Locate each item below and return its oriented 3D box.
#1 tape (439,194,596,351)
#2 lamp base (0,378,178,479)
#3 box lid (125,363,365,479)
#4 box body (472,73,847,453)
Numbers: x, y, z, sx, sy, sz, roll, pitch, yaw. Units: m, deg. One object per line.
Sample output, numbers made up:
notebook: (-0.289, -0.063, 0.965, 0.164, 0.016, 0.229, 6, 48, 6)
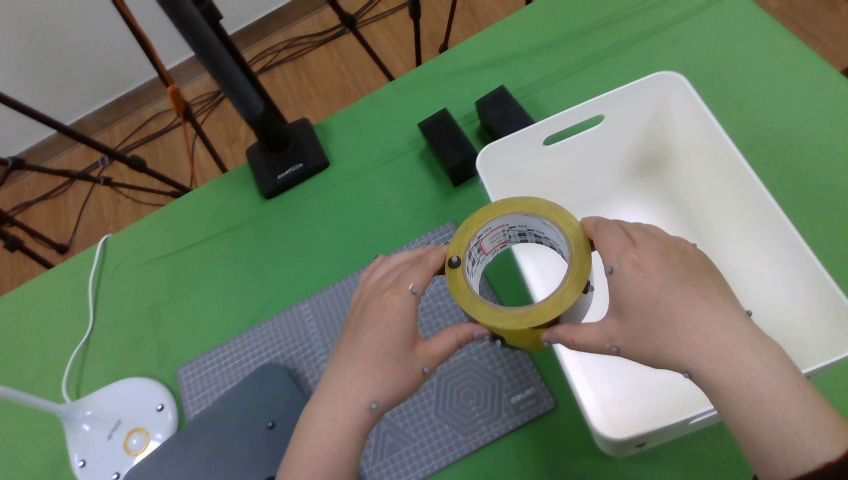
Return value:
tape: (0.073, 0.024, 0.473, 0.116, 0.053, 0.116, -7, 62, 13)
lamp base: (-0.443, 0.231, 0.770, 0.178, 0.182, 0.159, 6, 65, 22)
box lid: (-0.190, 0.350, 0.722, 0.263, 0.015, 0.368, -40, 62, -8)
box body: (0.238, 0.026, 0.683, 0.254, 0.162, 0.360, -23, 59, 4)
